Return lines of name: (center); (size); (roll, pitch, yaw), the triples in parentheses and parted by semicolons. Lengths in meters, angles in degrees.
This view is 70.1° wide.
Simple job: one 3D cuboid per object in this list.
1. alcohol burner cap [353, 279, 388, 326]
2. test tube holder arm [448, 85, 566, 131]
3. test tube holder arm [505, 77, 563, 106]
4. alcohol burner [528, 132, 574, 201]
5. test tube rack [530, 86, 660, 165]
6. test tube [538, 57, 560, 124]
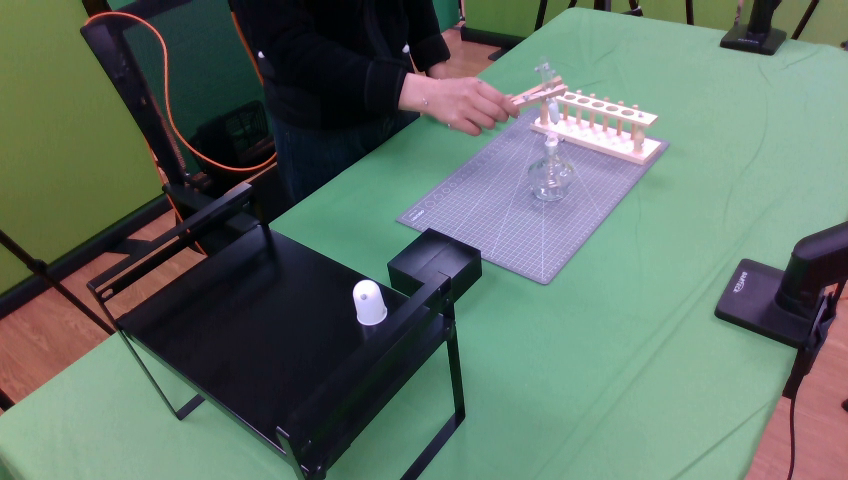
alcohol burner cap: (-0.056, 0.061, 0.616); (0.034, 0.048, 0.033); (-4, 41, 4)
test tube holder arm: (0.121, -0.196, 0.899); (0.178, 0.015, 0.013); (-17, 60, 11)
test tube holder arm: (0.162, -0.216, 0.894); (0.088, 0.015, 0.010); (-24, 59, 8)
alcohol burner: (0.214, -0.126, 1.016); (0.078, 0.119, 0.077); (-5, 39, 5)
test tube rack: (0.320, -0.226, 1.140); (0.240, 0.085, 0.067); (27, 51, 34)
test tube: (0.186, -0.217, 0.894); (0.017, 0.151, 0.017); (-7, 66, 17)
